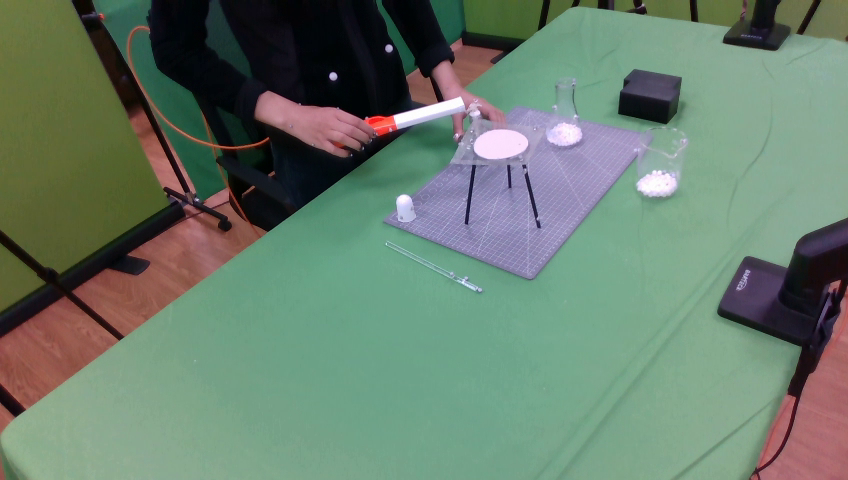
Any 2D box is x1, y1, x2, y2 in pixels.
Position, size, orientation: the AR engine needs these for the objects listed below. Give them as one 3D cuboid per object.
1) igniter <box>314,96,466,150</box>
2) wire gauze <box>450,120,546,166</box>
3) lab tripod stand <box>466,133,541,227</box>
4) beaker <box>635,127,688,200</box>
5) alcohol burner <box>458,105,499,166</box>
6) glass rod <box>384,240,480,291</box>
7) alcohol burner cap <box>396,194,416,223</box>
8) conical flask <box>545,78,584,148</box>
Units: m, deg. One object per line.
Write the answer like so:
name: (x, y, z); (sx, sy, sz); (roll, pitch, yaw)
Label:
igniter: (-0.063, -0.208, 1.084); (0.277, 0.025, 0.057); (-15, 45, 0)
wire gauze: (0.117, -0.151, 0.943); (0.121, 0.011, 0.125); (9, 43, 21)
lab tripod stand: (0.129, -0.099, 0.985); (0.148, 0.132, 0.147); (-7, 38, 6)
beaker: (0.388, -0.122, 0.994); (0.074, 0.101, 0.083); (-8, 41, 2)
alcohol burner: (0.099, -0.199, 1.125); (0.078, 0.120, 0.077); (-6, 41, 6)
glass rod: (0.009, 0.037, 0.949); (0.198, 0.008, 0.008); (26, 52, 34)
alcohol burner cap: (-0.032, -0.056, 1.036); (0.034, 0.048, 0.033); (-6, 41, 6)
conical flask: (0.264, -0.241, 1.135); (0.075, 0.122, 0.075); (-6, 40, 5)
